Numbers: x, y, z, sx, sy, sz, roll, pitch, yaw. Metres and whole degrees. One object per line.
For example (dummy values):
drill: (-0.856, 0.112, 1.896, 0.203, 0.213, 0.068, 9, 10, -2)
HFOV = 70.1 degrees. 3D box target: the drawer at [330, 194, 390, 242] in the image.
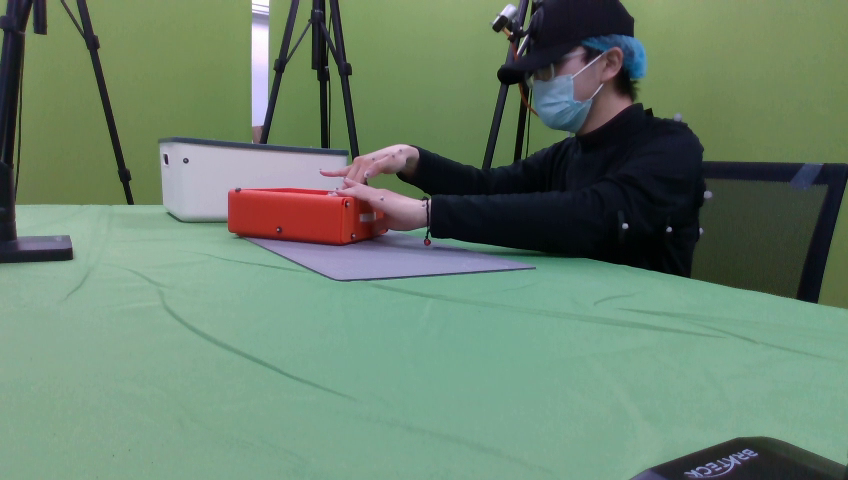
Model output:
drawer: (-0.189, -0.047, 1.061, 0.211, 0.073, 0.195, 4, 8, 18)

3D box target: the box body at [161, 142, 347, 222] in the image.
box body: (-0.380, -0.132, 1.352, 0.366, 0.160, 0.253, -2, 8, -30)

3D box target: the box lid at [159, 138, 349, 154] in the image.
box lid: (-0.376, -0.206, 1.344, 0.373, 0.015, 0.262, -1, 8, -30)

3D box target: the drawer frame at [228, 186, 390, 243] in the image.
drawer frame: (-0.193, -0.049, 1.060, 0.213, 0.082, 0.202, 4, 7, 17)

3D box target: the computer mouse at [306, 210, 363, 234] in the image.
computer mouse: (-0.154, -0.030, 1.054, 0.062, 0.041, 0.117, 1, 0, 18)
